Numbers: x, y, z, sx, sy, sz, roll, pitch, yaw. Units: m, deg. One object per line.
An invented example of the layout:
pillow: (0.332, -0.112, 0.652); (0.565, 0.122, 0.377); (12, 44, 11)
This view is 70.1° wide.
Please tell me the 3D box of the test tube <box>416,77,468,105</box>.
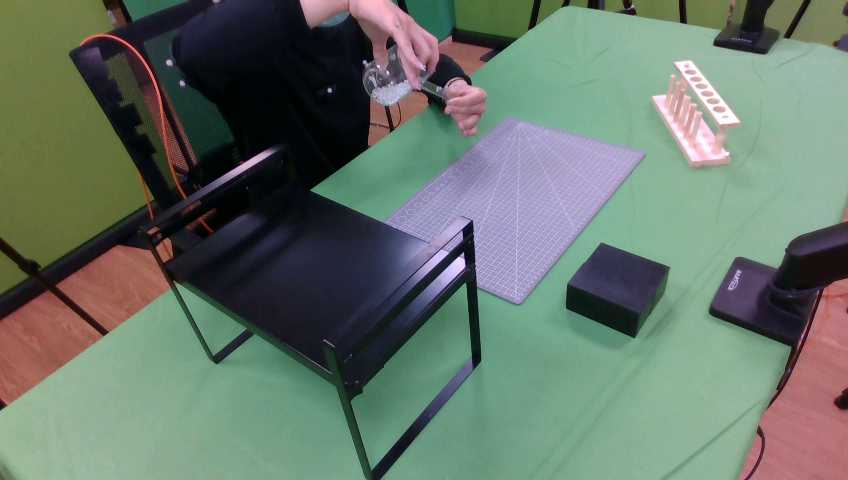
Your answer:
test tube: (0.034, -0.256, 1.045); (0.017, 0.017, 0.152); (25, 12, 32)

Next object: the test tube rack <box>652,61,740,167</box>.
test tube rack: (0.499, -0.242, 1.130); (0.067, 0.085, 0.241); (-5, 41, 3)

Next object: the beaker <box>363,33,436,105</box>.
beaker: (-0.039, -0.259, 0.933); (0.073, 0.084, 0.100); (17, 48, 33)
